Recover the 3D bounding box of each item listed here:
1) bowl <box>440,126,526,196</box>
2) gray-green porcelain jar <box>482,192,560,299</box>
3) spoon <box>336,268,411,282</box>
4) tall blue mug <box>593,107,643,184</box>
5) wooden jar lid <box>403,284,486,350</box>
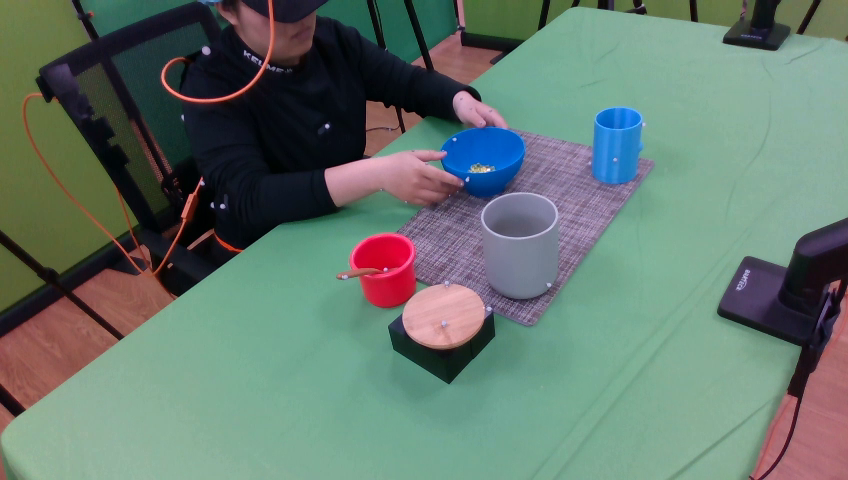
[{"bbox_3d":[0.107,-0.130,1.071,0.151,0.077,0.150,-6,40,5],"label":"bowl"},{"bbox_3d":[0.139,0.012,0.858,0.106,0.127,0.105,-6,40,5],"label":"gray-green porcelain jar"},{"bbox_3d":[-0.071,0.047,0.850,0.041,0.195,0.021,19,93,24],"label":"spoon"},{"bbox_3d":[0.330,-0.172,1.052,0.078,0.108,0.106,-12,40,0],"label":"tall blue mug"},{"bbox_3d":[0.027,0.101,0.786,0.108,0.021,0.108,-5,39,5],"label":"wooden jar lid"}]
